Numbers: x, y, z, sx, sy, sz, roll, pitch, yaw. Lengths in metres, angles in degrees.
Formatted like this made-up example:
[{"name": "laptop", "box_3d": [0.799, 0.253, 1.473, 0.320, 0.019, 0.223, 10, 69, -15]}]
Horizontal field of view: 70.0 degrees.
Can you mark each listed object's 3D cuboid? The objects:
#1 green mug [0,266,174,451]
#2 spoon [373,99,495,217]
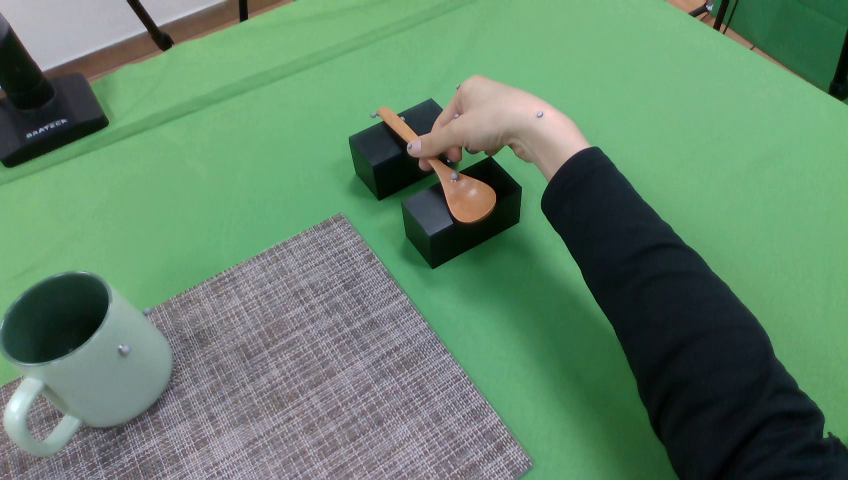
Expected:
[{"name": "green mug", "box_3d": [-0.257, 0.094, 0.454, 0.092, 0.106, 0.124, 10, 55, 11]}, {"name": "spoon", "box_3d": [0.002, -0.084, 0.560, 0.041, 0.022, 0.191, -40, 58, 1]}]
